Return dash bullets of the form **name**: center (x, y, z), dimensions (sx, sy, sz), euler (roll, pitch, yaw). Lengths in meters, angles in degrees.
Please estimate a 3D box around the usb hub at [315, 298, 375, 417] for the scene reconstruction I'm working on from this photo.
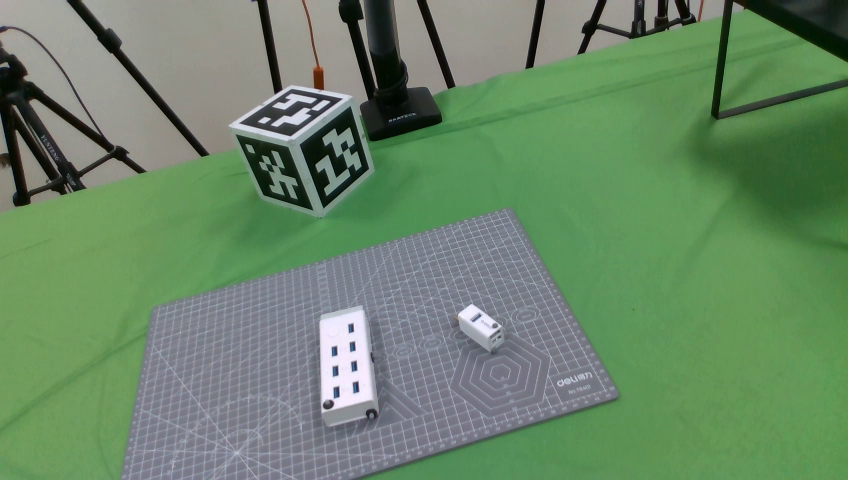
- **usb hub**: center (-0.080, 0.111, 0.594), dimensions (0.049, 0.025, 0.123), euler (-14, 39, -1)

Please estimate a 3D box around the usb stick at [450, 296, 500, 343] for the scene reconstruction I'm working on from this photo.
- **usb stick**: center (0.047, 0.075, 0.600), dimensions (0.021, 0.027, 0.058), euler (-36, 42, -22)
